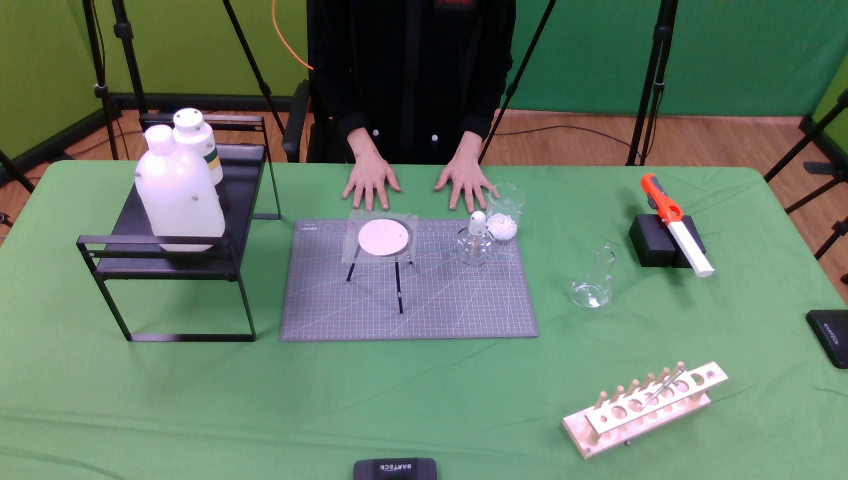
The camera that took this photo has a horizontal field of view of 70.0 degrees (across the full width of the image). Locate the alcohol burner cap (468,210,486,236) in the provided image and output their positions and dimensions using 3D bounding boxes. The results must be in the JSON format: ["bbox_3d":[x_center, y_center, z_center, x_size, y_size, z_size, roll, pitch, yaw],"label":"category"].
[{"bbox_3d":[0.100,-0.034,1.119,0.034,0.048,0.033,0,53,0],"label":"alcohol burner cap"}]

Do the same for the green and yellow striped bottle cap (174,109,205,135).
[{"bbox_3d":[-0.369,-0.186,0.954,0.045,0.020,0.045,3,50,-3],"label":"green and yellow striped bottle cap"}]

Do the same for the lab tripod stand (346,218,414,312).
[{"bbox_3d":[-0.069,0.037,1.075,0.148,0.132,0.147,1,48,-1],"label":"lab tripod stand"}]

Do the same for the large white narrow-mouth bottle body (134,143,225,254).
[{"bbox_3d":[-0.358,-0.075,0.875,0.102,0.195,0.101,1,48,-1],"label":"large white narrow-mouth bottle body"}]

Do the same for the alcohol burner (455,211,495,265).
[{"bbox_3d":[0.097,-0.010,1.147,0.078,0.120,0.077,1,47,-1],"label":"alcohol burner"}]

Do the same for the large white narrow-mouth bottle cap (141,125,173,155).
[{"bbox_3d":[-0.356,-0.134,0.810,0.038,0.024,0.037,1,48,-1],"label":"large white narrow-mouth bottle cap"}]

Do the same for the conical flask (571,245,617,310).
[{"bbox_3d":[0.313,0.064,1.089,0.075,0.122,0.075,2,46,-2],"label":"conical flask"}]

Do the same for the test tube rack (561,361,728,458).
[{"bbox_3d":[0.341,0.248,0.940,0.243,0.085,0.066,-15,49,-18],"label":"test tube rack"}]

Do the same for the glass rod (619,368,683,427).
[{"bbox_3d":[0.320,0.229,0.864,0.008,0.200,0.008,5,52,-6],"label":"glass rod"}]

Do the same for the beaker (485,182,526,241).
[{"bbox_3d":[0.159,-0.055,1.205,0.074,0.101,0.084,23,49,17],"label":"beaker"}]

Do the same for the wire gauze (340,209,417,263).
[{"bbox_3d":[-0.074,-0.007,1.023,0.121,0.011,0.124,3,46,0],"label":"wire gauze"}]

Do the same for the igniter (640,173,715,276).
[{"bbox_3d":[0.495,-0.039,1.204,0.057,0.025,0.274,-2,47,-12],"label":"igniter"}]

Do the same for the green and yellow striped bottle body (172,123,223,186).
[{"bbox_3d":[-0.373,-0.148,0.994,0.063,0.120,0.063,2,46,-2],"label":"green and yellow striped bottle body"}]
